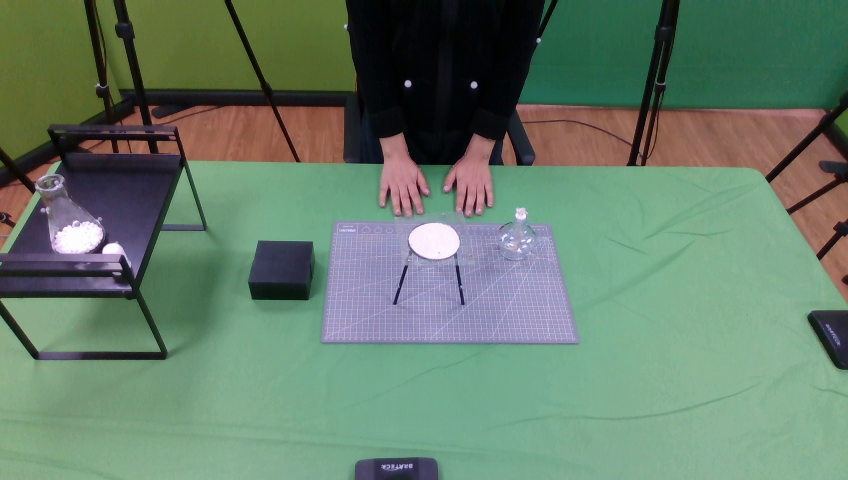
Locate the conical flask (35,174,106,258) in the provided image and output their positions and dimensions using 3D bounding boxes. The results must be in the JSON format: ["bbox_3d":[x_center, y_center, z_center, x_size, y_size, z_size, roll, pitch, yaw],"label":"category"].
[{"bbox_3d":[-0.518,-0.038,0.875,0.075,0.122,0.075,2,46,-2],"label":"conical flask"}]

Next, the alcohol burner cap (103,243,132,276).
[{"bbox_3d":[-0.446,0.025,0.875,0.034,0.048,0.033,3,45,-3],"label":"alcohol burner cap"}]

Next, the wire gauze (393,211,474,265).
[{"bbox_3d":[0.015,-0.003,1.028,0.125,0.011,0.120,-4,47,-7],"label":"wire gauze"}]

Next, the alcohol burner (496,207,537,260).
[{"bbox_3d":[0.179,-0.018,1.163,0.078,0.120,0.077,1,48,-1],"label":"alcohol burner"}]

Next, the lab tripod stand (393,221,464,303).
[{"bbox_3d":[0.010,0.045,1.074,0.148,0.132,0.147,2,48,-2],"label":"lab tripod stand"}]
